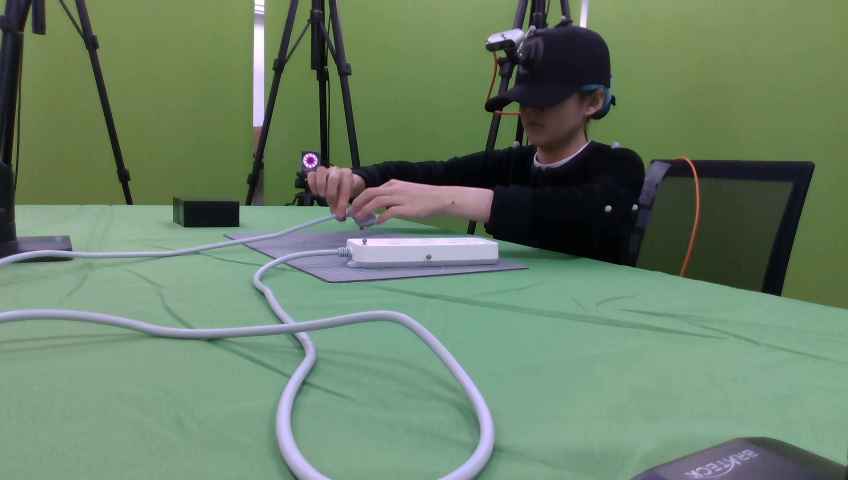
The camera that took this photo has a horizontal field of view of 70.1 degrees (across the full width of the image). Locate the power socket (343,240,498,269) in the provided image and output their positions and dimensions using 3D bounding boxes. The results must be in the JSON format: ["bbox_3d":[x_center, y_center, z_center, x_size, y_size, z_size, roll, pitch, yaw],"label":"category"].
[{"bbox_3d":[-0.002,0.018,0.829,0.228,0.032,0.072,0,7,-24],"label":"power socket"}]

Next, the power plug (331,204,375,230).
[{"bbox_3d":[-0.117,-0.038,0.997,0.073,0.052,0.035,2,50,-10],"label":"power plug"}]
